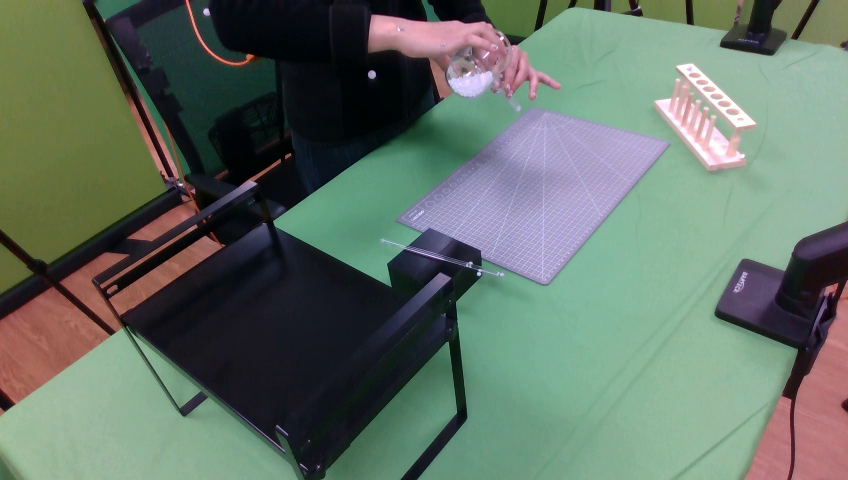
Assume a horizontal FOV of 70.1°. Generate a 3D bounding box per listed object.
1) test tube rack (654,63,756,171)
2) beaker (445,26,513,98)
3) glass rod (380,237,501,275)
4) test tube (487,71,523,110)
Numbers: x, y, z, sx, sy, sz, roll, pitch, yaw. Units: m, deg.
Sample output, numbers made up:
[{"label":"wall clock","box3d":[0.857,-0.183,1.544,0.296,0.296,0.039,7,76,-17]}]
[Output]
[{"label":"test tube rack","box3d":[0.510,-0.234,1.120,0.067,0.085,0.241,-8,41,-1]},{"label":"beaker","box3d":[0.082,-0.267,0.921,0.073,0.084,0.100,16,46,26]},{"label":"glass rod","box3d":[0.020,0.023,0.881,0.198,0.008,0.008,16,46,25]},{"label":"test tube","box3d":[0.142,-0.254,1.041,0.017,0.151,0.017,-5,79,26]}]
